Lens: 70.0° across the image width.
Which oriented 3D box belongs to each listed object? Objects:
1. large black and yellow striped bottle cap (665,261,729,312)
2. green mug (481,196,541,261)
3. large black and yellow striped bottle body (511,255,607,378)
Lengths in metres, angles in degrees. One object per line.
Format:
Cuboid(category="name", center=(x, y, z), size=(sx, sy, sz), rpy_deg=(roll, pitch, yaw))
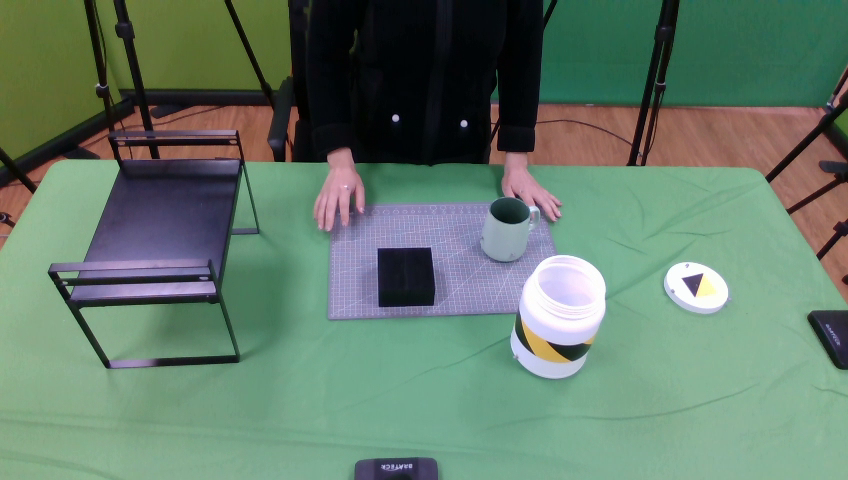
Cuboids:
Cuboid(category="large black and yellow striped bottle cap", center=(0.518, 0.087, 1.153), size=(0.115, 0.019, 0.114), rpy_deg=(2, 47, -2))
Cuboid(category="green mug", center=(0.173, -0.027, 1.173), size=(0.125, 0.105, 0.092), rpy_deg=(-22, 51, -23))
Cuboid(category="large black and yellow striped bottle body", center=(0.218, 0.124, 0.981), size=(0.131, 0.185, 0.130), rpy_deg=(2, 47, -2))
